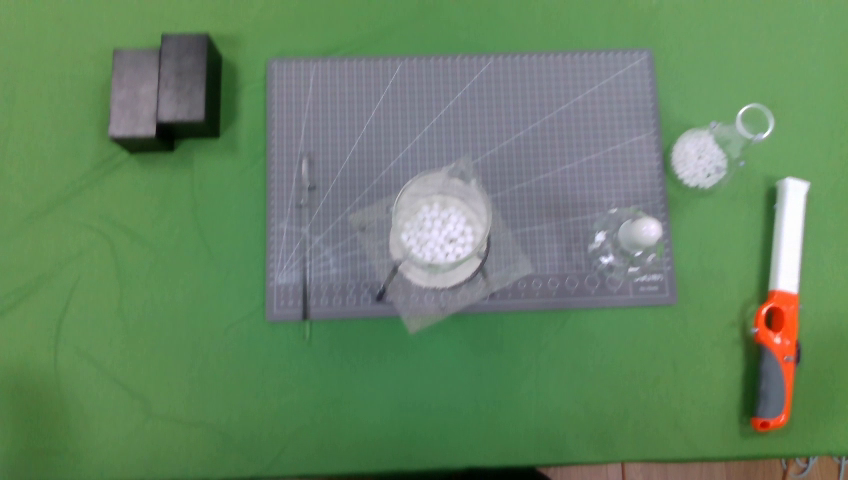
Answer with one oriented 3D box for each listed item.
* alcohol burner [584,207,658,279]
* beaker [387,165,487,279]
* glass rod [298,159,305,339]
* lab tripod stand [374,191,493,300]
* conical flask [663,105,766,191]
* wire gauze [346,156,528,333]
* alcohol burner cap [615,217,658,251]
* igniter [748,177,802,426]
[{"bbox_3d":[0.207,-0.001,0.623,0.078,0.119,0.077,0,78,1],"label":"alcohol burner"},{"bbox_3d":[0.010,-0.010,0.493,0.074,0.100,0.083,19,80,2],"label":"beaker"},{"bbox_3d":[-0.134,0.008,0.665,0.008,0.008,0.199,-1,83,-2],"label":"glass rod"},{"bbox_3d":[0.009,0.015,0.605,0.148,0.132,0.148,0,82,-1],"label":"lab tripod stand"},{"bbox_3d":[0.311,-0.102,0.643,0.075,0.122,0.075,0,79,-1],"label":"conical flask"},{"bbox_3d":[0.012,0.003,0.540,0.125,0.011,0.121,-27,84,-8],"label":"wire gauze"},{"bbox_3d":[0.208,-0.008,0.587,0.034,0.048,0.034,0,85,-3],"label":"alcohol burner cap"},{"bbox_3d":[0.386,0.065,0.663,0.057,0.025,0.275,13,80,-10],"label":"igniter"}]
